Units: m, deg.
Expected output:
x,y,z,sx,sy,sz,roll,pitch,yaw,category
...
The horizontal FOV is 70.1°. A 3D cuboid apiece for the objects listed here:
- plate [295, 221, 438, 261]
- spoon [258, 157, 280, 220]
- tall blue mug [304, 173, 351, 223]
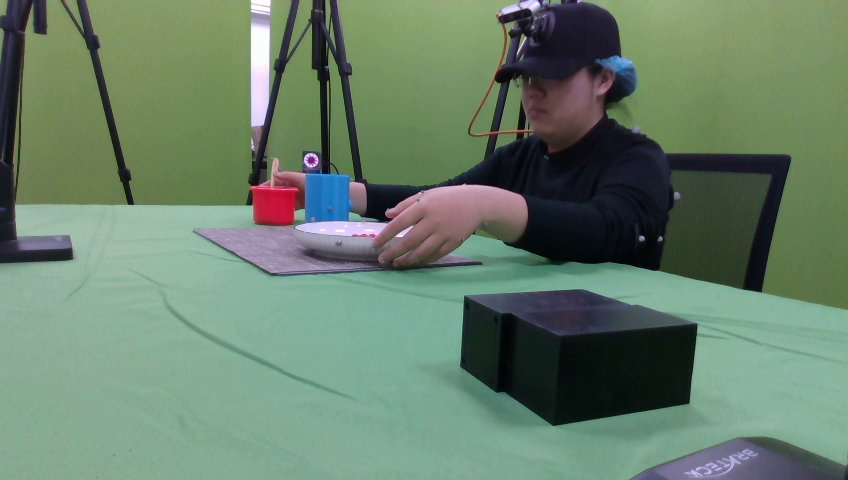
x,y,z,sx,sy,sz,roll,pitch,yaw,category
-0.083,0.001,0.885,0.208,0.039,0.207,2,7,0,plate
-0.319,-0.111,1.275,0.042,0.021,0.193,0,52,-5,spoon
-0.178,-0.062,1.062,0.078,0.108,0.106,-4,10,-38,tall blue mug
